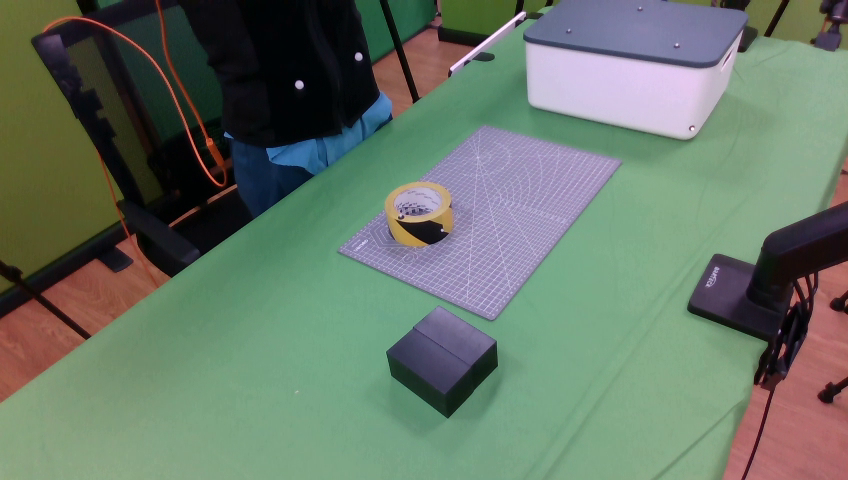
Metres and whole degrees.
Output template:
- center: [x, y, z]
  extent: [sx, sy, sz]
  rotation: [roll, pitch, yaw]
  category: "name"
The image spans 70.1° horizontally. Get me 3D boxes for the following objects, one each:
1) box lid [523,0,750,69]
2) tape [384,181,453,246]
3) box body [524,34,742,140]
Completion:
- center: [0.405, -0.409, 1.163]
  extent: [0.368, 0.015, 0.264]
  rotation: [20, 47, 29]
  category: "box lid"
- center: [-0.009, -0.045, 0.994]
  extent: [0.117, 0.053, 0.116]
  rotation: [-4, 40, 4]
  category: "tape"
- center: [0.412, -0.354, 1.213]
  extent: [0.361, 0.161, 0.254]
  rotation: [20, 48, 29]
  category: "box body"
